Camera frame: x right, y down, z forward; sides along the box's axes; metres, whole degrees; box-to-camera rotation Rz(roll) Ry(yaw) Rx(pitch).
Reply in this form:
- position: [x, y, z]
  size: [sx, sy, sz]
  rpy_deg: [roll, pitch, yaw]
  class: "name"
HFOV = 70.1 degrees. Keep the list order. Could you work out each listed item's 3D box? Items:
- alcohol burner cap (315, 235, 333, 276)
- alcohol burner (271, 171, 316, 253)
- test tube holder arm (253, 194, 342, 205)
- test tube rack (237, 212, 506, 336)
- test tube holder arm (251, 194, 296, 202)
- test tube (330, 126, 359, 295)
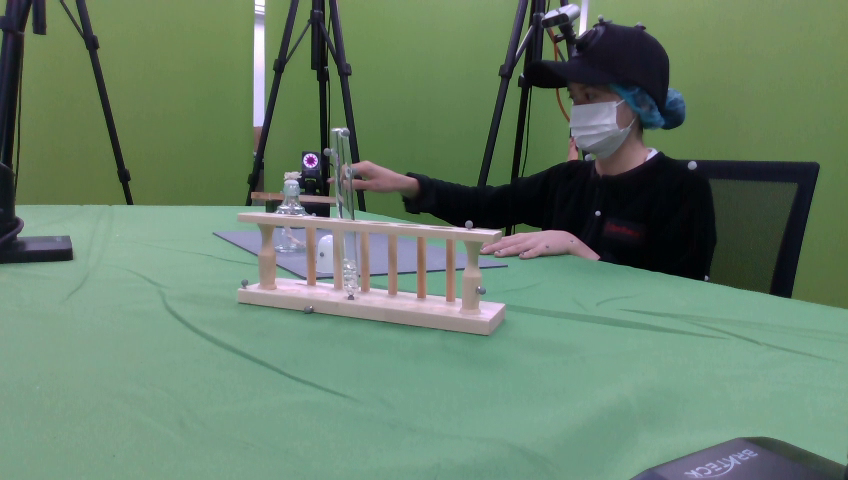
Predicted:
- position: [-0.116, 0.018, 0.728]
  size: [0.034, 0.048, 0.034]
  rpy_deg: [3, 6, 0]
  class: "alcohol burner cap"
- position: [-0.196, -0.041, 0.884]
  size: [0.078, 0.119, 0.078]
  rpy_deg: [3, 5, 0]
  class: "alcohol burner"
- position: [-0.256, -0.082, 1.217]
  size: [0.179, 0.015, 0.013]
  rpy_deg: [3, 4, -7]
  class: "test tube holder arm"
- position: [-0.049, 0.024, 0.552]
  size: [0.242, 0.085, 0.067]
  rpy_deg: [5, 8, 18]
  class: "test tube rack"
- position: [-0.300, -0.084, 1.207]
  size: [0.088, 0.015, 0.010]
  rpy_deg: [3, 5, -5]
  class: "test tube holder arm"
- position: [-0.070, -0.024, 0.533]
  size: [0.017, 0.150, 0.017]
  rpy_deg: [-3, 10, 1]
  class: "test tube"
